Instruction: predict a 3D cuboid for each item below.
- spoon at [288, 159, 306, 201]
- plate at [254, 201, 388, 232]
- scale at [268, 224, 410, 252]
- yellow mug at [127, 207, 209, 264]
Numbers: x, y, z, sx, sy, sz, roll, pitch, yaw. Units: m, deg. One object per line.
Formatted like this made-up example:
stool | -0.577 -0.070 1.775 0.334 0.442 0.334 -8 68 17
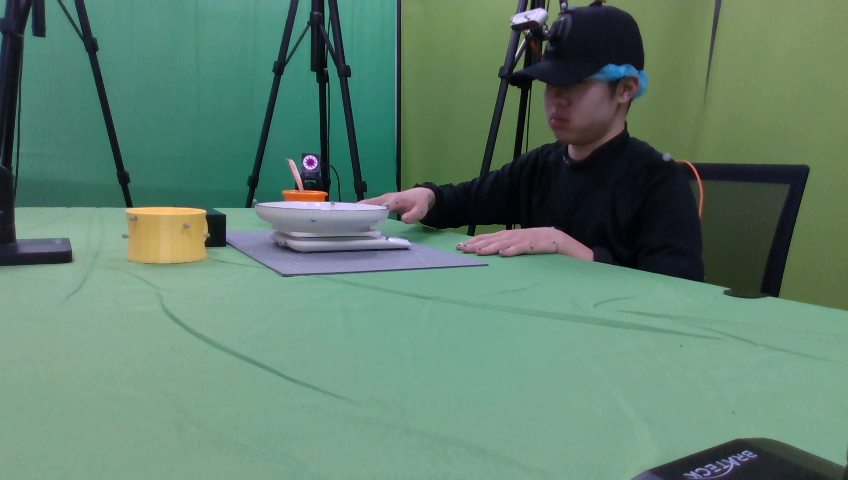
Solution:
spoon | -0.260 -0.103 1.268 0.042 0.193 0.021 3 -39 -33
plate | -0.161 -0.038 0.961 0.209 0.038 0.209 2 6 0
scale | -0.137 -0.006 0.980 0.202 0.031 0.148 -1 8 -30
yellow mug | -0.339 -0.010 0.827 0.100 0.064 0.131 5 7 17
